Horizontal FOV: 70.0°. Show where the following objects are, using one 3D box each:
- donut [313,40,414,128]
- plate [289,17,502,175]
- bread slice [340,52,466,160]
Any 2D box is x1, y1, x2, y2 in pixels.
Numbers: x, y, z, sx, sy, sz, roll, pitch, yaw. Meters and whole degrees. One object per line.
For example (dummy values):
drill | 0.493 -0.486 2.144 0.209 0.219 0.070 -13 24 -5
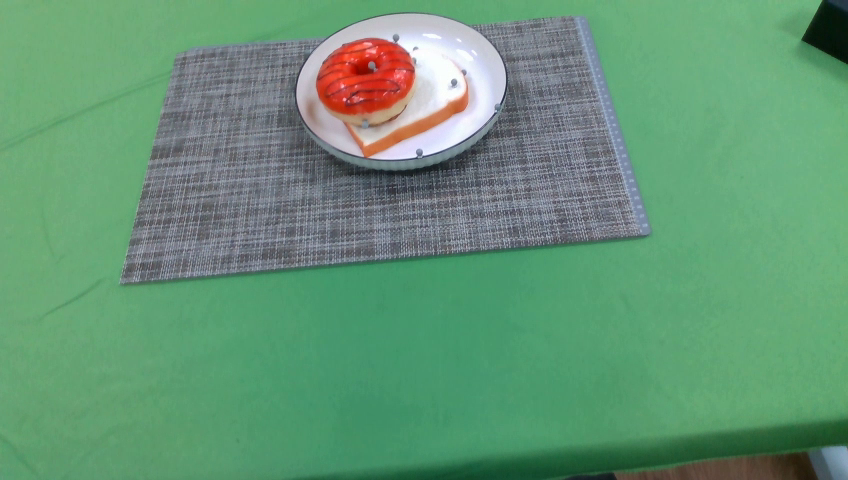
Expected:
donut | -0.057 -0.150 0.577 0.099 0.049 0.098 -3 58 5
plate | -0.027 -0.141 0.603 0.207 0.039 0.205 -1 57 2
bread slice | -0.026 -0.143 0.607 0.131 0.019 0.104 -27 59 -12
